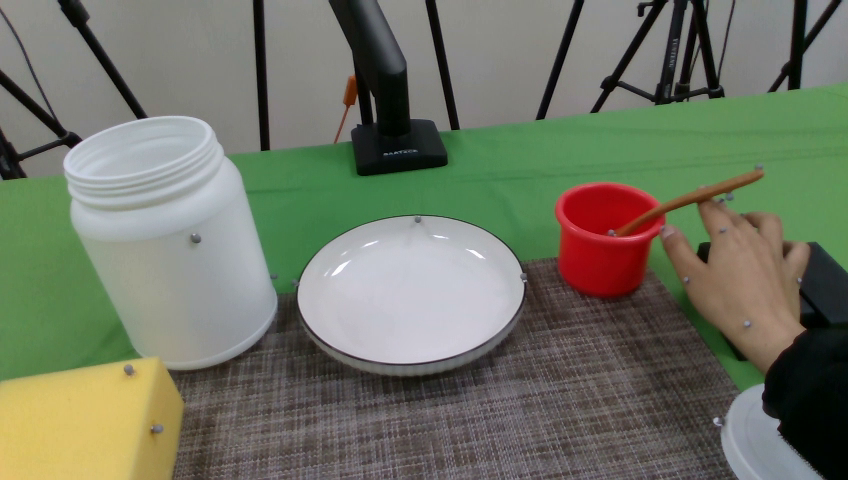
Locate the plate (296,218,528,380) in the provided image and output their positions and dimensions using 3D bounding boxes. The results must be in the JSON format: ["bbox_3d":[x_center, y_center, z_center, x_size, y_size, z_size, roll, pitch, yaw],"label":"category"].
[{"bbox_3d":[-0.010,0.053,0.558,0.209,0.038,0.207,-1,36,1],"label":"plate"}]

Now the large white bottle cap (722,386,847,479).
[{"bbox_3d":[0.272,0.151,0.425,0.115,0.018,0.113,0,37,0],"label":"large white bottle cap"}]

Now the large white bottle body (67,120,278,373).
[{"bbox_3d":[-0.206,0.005,0.511,0.130,0.186,0.129,-3,35,3],"label":"large white bottle body"}]

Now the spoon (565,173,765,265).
[{"bbox_3d":[0.207,-0.017,0.547,0.022,0.193,0.041,49,45,-8],"label":"spoon"}]

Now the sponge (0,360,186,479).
[{"bbox_3d":[-0.235,0.179,0.387,0.118,0.061,0.204,-9,36,-5],"label":"sponge"}]
